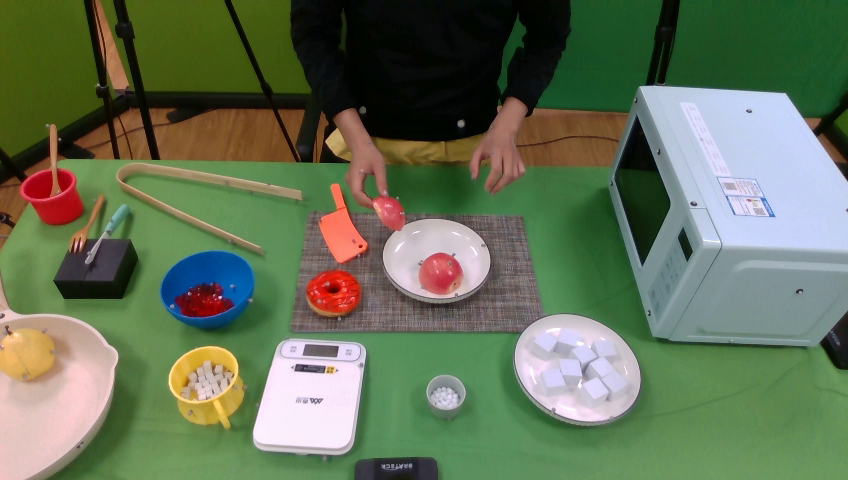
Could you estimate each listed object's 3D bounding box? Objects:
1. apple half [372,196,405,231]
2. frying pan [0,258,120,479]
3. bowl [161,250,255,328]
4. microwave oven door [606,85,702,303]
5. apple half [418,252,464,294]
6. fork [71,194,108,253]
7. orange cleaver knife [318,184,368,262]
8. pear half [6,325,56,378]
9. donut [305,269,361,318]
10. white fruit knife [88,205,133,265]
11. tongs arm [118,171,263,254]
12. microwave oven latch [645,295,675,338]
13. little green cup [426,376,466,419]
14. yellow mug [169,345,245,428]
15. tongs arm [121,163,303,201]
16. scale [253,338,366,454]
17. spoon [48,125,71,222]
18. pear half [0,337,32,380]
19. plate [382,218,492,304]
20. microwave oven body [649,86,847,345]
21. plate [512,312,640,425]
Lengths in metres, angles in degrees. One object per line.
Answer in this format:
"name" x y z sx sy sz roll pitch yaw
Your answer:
"apple half" -0.060 -0.056 1.124 0.033 0.082 0.080 -35 44 20
"frying pan" -0.647 0.164 0.936 0.307 0.103 0.485 -19 58 -22
"bowl" -0.362 0.098 1.039 0.151 0.077 0.150 2 45 -2
"microwave oven door" 0.422 -0.094 1.140 0.039 0.245 0.353 2 46 -1
"apple half" 0.033 0.055 1.109 0.081 0.053 0.074 -29 57 -27
"fork" -0.634 -0.036 1.158 0.028 0.019 0.206 -8 32 -8
"orange cleaver knife" -0.173 -0.037 1.219 0.077 0.012 0.210 -16 50 -12
"pear half" -0.608 0.158 0.935 0.076 0.110 0.056 31 51 20
"donut" -0.160 0.094 1.075 0.099 0.048 0.098 4 45 -3
"white fruit knife" -0.584 -0.013 1.129 0.016 0.027 0.206 0 32 -5
"tongs arm" -0.474 -0.055 1.209 0.386 0.028 0.028 24 55 18
"microwave oven latch" 0.411 0.134 1.061 0.030 0.029 0.078 3 45 0
"little green cup" 0.033 0.248 0.950 0.061 0.039 0.061 2 46 -2
"yellow mug" -0.322 0.230 0.922 0.100 0.064 0.130 -24 53 -25
"tongs arm" -0.444 -0.114 1.266 0.384 0.026 0.050 12 49 8
"scale" -0.175 0.236 0.951 0.149 0.032 0.199 5 45 -1
"spoon" -0.718 -0.131 1.188 0.041 0.021 0.193 -3 90 -6
"pear half" -0.631 0.184 0.921 0.070 0.088 0.031 29 49 19
"plate" 0.023 0.042 1.143 0.209 0.038 0.208 2 46 -2
"microwave oven body" 0.567 -0.053 1.118 0.326 0.261 0.439 2 45 -1
"plate" 0.246 0.213 0.999 0.208 0.039 0.206 2 46 -2
